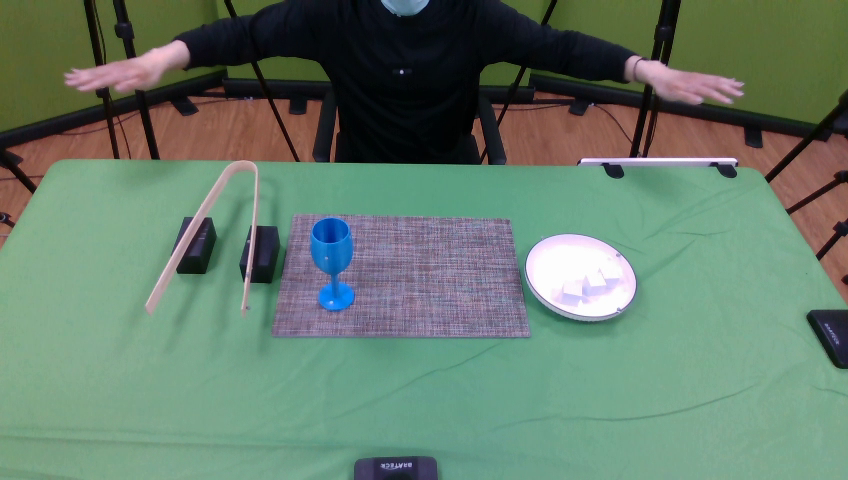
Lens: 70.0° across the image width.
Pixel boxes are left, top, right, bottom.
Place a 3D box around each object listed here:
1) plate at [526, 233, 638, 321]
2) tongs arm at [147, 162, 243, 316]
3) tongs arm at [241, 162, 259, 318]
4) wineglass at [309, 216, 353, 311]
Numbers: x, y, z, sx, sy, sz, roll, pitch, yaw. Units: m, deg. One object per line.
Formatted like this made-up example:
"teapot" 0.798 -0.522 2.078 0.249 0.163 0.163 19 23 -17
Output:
"plate" 0.292 0.071 1.135 0.209 0.038 0.208 2 46 -2
"tongs arm" -0.415 -0.018 1.115 0.028 0.028 0.385 4 45 8
"tongs arm" -0.334 -0.016 1.118 0.051 0.026 0.382 -3 46 -4
"wineglass" -0.156 0.043 1.032 0.074 0.173 0.073 2 46 -2
